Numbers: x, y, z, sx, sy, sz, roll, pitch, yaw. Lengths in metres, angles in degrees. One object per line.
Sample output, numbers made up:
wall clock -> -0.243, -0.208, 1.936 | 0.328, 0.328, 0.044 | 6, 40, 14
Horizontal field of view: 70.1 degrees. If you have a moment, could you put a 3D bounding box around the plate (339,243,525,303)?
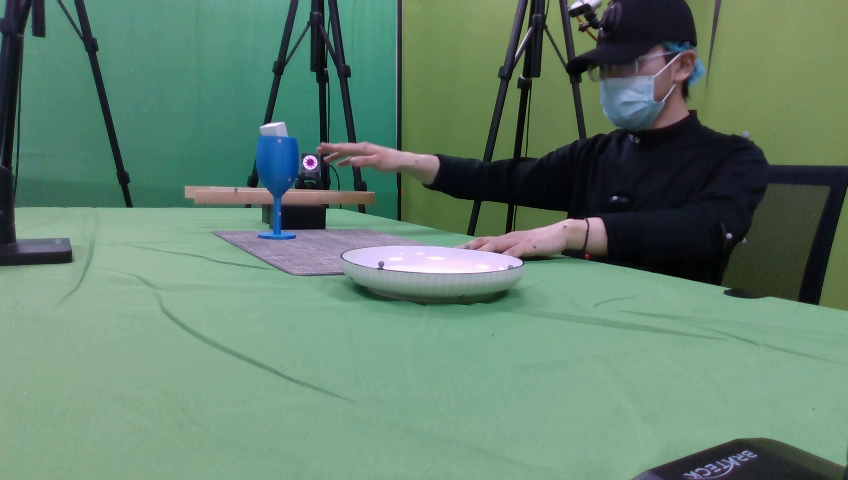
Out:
plate -> 0.008, 0.035, 0.682 | 0.209, 0.038, 0.209 | 3, 7, 0

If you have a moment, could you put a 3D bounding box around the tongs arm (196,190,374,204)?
tongs arm -> -0.266, -0.086, 1.227 | 0.387, 0.026, 0.050 | -2, 6, -33

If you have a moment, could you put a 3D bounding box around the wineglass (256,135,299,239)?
wineglass -> -0.252, -0.091, 1.035 | 0.074, 0.172, 0.073 | 2, 7, 0

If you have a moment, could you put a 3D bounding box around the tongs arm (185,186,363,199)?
tongs arm -> -0.303, -0.096, 1.296 | 0.389, 0.028, 0.028 | 0, 2, -20
